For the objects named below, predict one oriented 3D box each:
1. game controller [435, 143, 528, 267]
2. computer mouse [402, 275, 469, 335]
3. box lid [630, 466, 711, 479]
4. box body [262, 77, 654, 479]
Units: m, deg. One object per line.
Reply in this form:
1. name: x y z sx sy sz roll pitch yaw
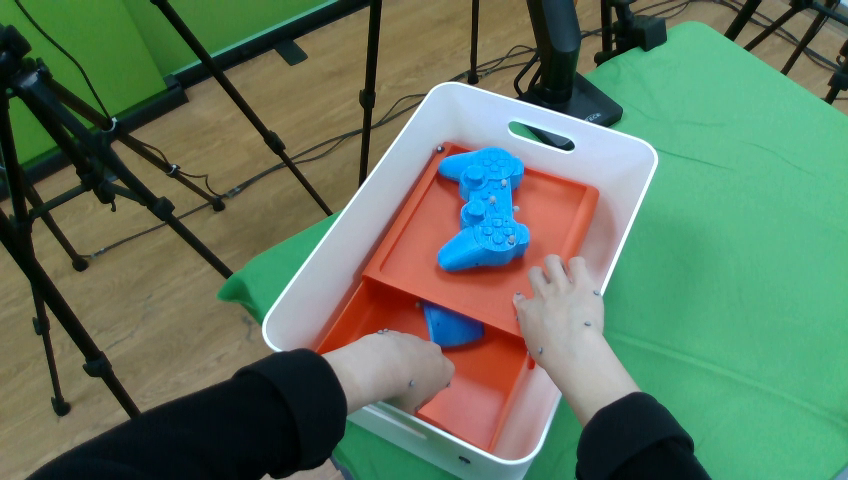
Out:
1. game controller: 0.061 -0.044 0.660 0.097 0.052 0.153 2 57 0
2. computer mouse: 0.014 0.065 0.670 0.062 0.041 0.117 -4 17 11
3. box lid: 0.189 0.388 0.481 0.263 0.015 0.367 -14 58 -6
4. box body: 0.049 0.033 0.629 0.253 0.162 0.362 22 60 16
